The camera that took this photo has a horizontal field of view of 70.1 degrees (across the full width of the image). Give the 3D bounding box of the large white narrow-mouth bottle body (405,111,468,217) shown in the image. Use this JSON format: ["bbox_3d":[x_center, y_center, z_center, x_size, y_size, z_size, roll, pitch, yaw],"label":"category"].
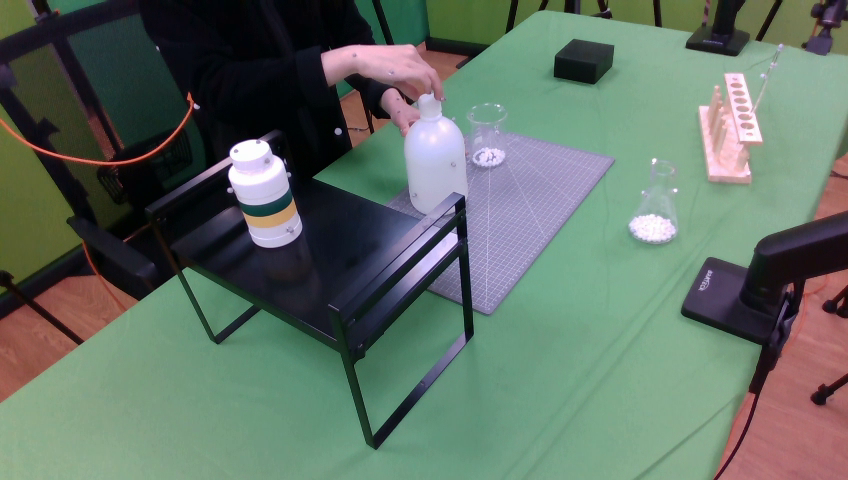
[{"bbox_3d":[0.020,-0.141,1.004,0.102,0.195,0.101,-3,39,3],"label":"large white narrow-mouth bottle body"}]

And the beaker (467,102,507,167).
[{"bbox_3d":[0.121,-0.195,1.124,0.084,0.100,0.073,-34,48,-28],"label":"beaker"}]

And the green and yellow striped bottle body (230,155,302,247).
[{"bbox_3d":[-0.188,-0.055,0.714,0.063,0.120,0.063,-4,40,4],"label":"green and yellow striped bottle body"}]

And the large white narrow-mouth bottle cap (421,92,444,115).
[{"bbox_3d":[0.013,-0.214,0.947,0.038,0.024,0.037,-3,38,3],"label":"large white narrow-mouth bottle cap"}]

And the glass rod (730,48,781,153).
[{"bbox_3d":[0.554,-0.228,1.015,0.008,0.200,0.008,1,44,-1],"label":"glass rod"}]

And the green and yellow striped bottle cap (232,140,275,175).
[{"bbox_3d":[-0.192,-0.093,0.680,0.045,0.020,0.045,-5,39,5],"label":"green and yellow striped bottle cap"}]

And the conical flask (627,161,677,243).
[{"bbox_3d":[0.355,-0.061,0.921,0.075,0.122,0.075,-4,41,4],"label":"conical flask"}]

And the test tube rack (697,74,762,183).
[{"bbox_3d":[0.547,-0.208,1.095,0.066,0.085,0.242,5,42,15],"label":"test tube rack"}]
